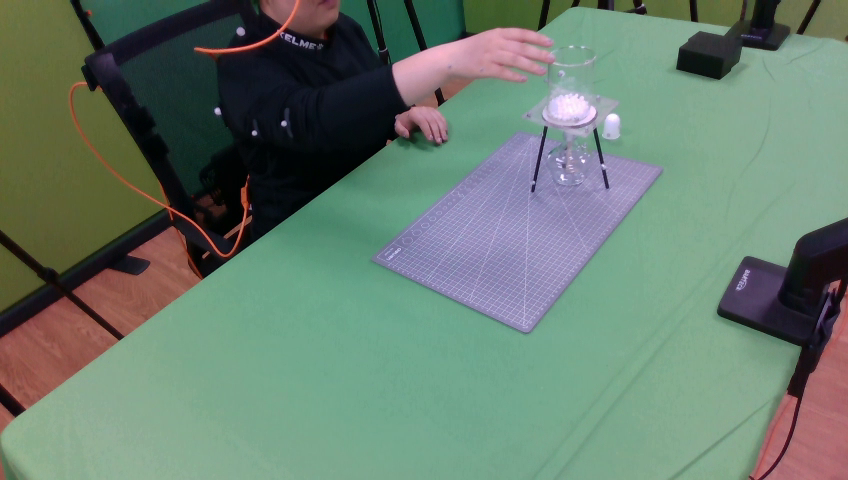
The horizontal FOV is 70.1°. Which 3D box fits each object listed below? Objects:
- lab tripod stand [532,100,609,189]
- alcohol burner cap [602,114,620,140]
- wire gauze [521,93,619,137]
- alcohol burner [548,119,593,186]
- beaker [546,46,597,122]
[{"bbox_3d":[0.251,-0.161,1.034,0.148,0.132,0.147,-4,39,4],"label":"lab tripod stand"},{"bbox_3d":[0.359,-0.217,1.157,0.034,0.048,0.033,-7,40,6],"label":"alcohol burner cap"},{"bbox_3d":[0.240,-0.212,0.995,0.124,0.011,0.122,22,46,34],"label":"wire gauze"},{"bbox_3d":[0.252,-0.154,1.042,0.078,0.120,0.077,-7,41,7],"label":"alcohol burner"},{"bbox_3d":[0.229,-0.246,0.962,0.083,0.101,0.074,25,49,34],"label":"beaker"}]
